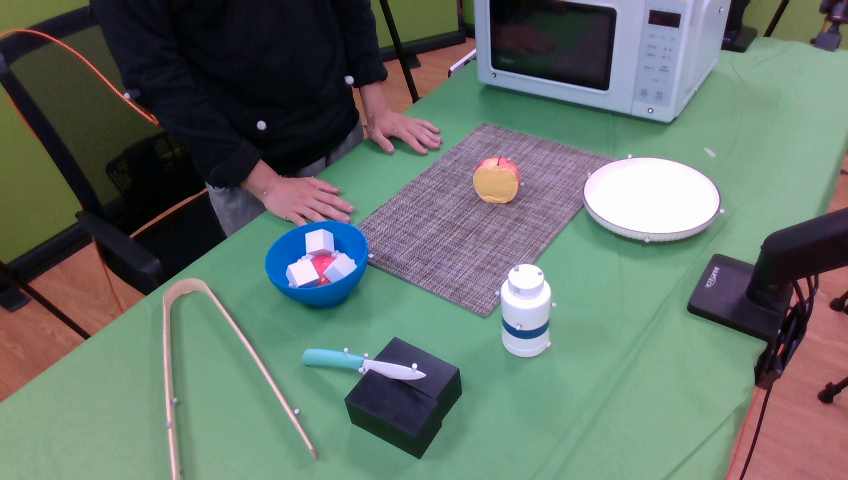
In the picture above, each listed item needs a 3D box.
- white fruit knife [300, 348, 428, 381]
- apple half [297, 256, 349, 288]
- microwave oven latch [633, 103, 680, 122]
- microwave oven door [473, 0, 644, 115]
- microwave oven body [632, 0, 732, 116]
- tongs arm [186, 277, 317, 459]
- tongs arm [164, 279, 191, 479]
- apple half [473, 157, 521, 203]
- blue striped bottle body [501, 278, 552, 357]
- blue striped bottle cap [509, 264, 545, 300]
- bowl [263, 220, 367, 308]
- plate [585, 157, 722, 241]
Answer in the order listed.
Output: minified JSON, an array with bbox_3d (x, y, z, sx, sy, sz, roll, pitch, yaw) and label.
[{"bbox_3d":[-0.079,0.154,0.748,0.206,0.027,0.016,1,20,34],"label":"white fruit knife"},{"bbox_3d":[-0.154,0.044,0.889,0.081,0.033,0.081,-3,40,3],"label":"apple half"},{"bbox_3d":[0.444,-0.249,1.157,0.078,0.029,0.030,21,48,30],"label":"microwave oven latch"},{"bbox_3d":[0.257,-0.396,1.199,0.353,0.245,0.039,21,48,29],"label":"microwave oven door"},{"bbox_3d":[0.377,-0.462,1.267,0.438,0.261,0.327,21,48,30],"label":"microwave oven body"},{"bbox_3d":[-0.241,0.155,0.816,0.028,0.028,0.384,-31,46,-21],"label":"tongs arm"},{"bbox_3d":[-0.313,0.182,0.789,0.051,0.026,0.381,-19,41,-14],"label":"tongs arm"},{"bbox_3d":[0.128,-0.106,1.030,0.080,0.075,0.053,4,36,19],"label":"apple half"},{"bbox_3d":[0.130,0.088,0.769,0.063,0.121,0.063,-4,41,4],"label":"blue striped bottle body"},{"bbox_3d":[0.125,0.051,0.735,0.044,0.021,0.044,-5,39,5],"label":"blue striped bottle cap"},{"bbox_3d":[-0.152,0.047,0.892,0.151,0.077,0.150,-4,40,4],"label":"bowl"},{"bbox_3d":[0.367,-0.063,0.979,0.207,0.039,0.206,-4,40,4],"label":"plate"}]
